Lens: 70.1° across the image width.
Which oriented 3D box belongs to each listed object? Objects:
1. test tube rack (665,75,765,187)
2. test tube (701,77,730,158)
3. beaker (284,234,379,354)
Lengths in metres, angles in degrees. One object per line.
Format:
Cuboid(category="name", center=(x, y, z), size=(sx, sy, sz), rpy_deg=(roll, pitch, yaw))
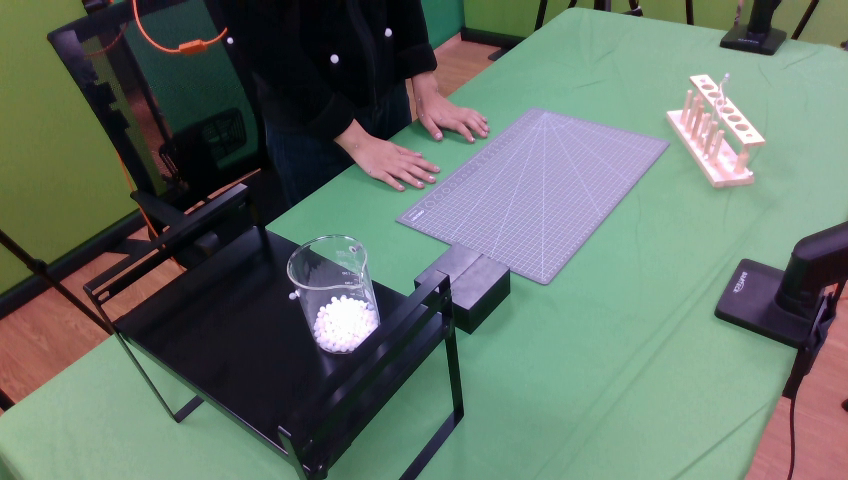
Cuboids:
Cuboid(category="test tube rack", center=(0.512, -0.201, 1.082), size=(0.067, 0.085, 0.241), rpy_deg=(-6, 41, 2))
Cuboid(category="test tube", center=(0.491, -0.204, 1.020), size=(0.017, 0.151, 0.017), rpy_deg=(-4, 41, 4))
Cuboid(category="beaker", center=(-0.083, 0.056, 0.585), size=(0.083, 0.101, 0.074), rpy_deg=(28, 53, 33))
